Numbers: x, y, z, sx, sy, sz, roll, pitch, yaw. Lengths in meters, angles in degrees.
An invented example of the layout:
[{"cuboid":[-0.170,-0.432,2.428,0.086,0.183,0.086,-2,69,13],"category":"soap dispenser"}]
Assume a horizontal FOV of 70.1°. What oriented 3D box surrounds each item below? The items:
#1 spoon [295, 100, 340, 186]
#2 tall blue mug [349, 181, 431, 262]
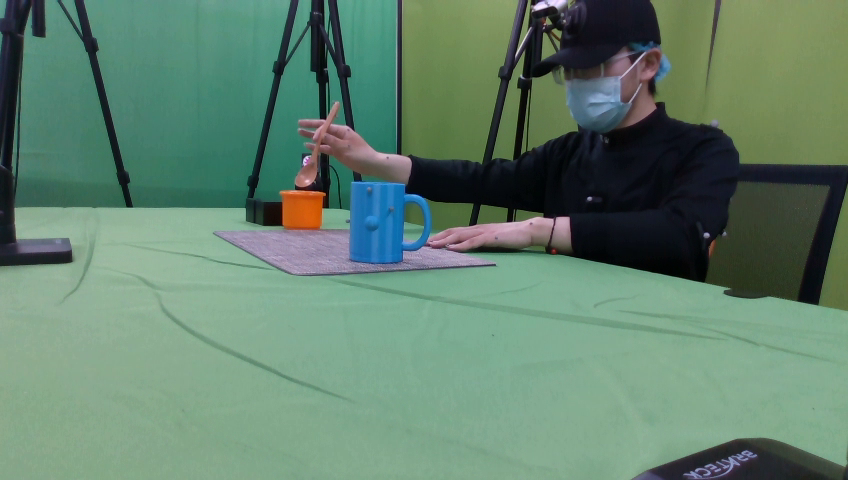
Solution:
[{"cuboid":[-0.206,-0.193,1.195,0.041,0.193,0.022,17,-9,25],"category":"spoon"},{"cuboid":[-0.051,-0.028,0.849,0.108,0.108,0.077,-1,7,-22],"category":"tall blue mug"}]
